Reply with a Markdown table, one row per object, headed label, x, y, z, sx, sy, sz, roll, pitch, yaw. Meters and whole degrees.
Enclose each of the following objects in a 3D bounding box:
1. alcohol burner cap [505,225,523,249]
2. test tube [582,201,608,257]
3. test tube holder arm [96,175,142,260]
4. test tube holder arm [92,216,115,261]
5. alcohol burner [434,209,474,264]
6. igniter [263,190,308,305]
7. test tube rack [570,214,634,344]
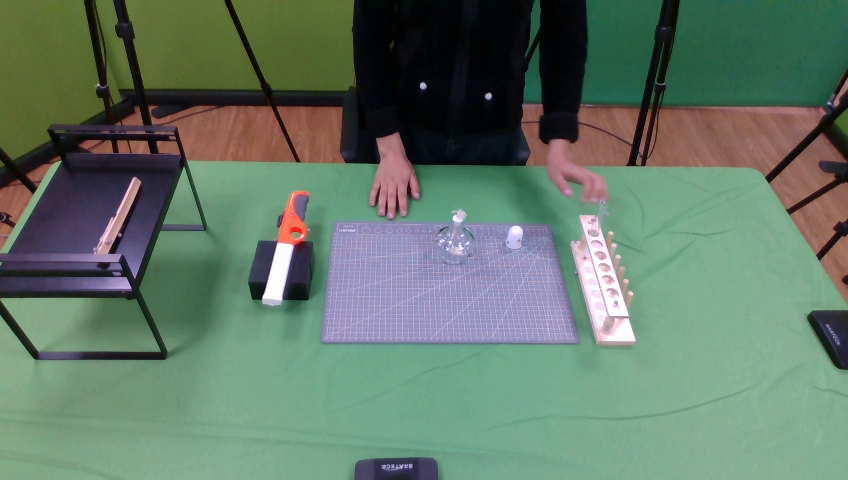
| label | x | y | z | sx | sy | sz | roll | pitch | yaw |
| --- | --- | --- | --- | --- | --- | --- | --- | --- | --- |
| alcohol burner cap | 0.180 | -0.009 | 1.203 | 0.034 | 0.048 | 0.033 | 2 | 47 | -2 |
| test tube | 0.316 | -0.017 | 1.127 | 0.017 | 0.151 | 0.017 | 1 | 51 | -1 |
| test tube holder arm | -0.473 | -0.039 | 0.946 | 0.013 | 0.015 | 0.177 | -18 | 44 | 19 |
| test tube holder arm | -0.479 | -0.004 | 0.917 | 0.010 | 0.015 | 0.087 | -18 | 44 | 19 |
| alcohol burner | 0.058 | -0.011 | 1.147 | 0.078 | 0.119 | 0.077 | 3 | 45 | -3 |
| igniter | -0.251 | 0.003 | 1.108 | 0.057 | 0.025 | 0.275 | 9 | 46 | -8 |
| test tube rack | 0.333 | 0.067 | 1.116 | 0.067 | 0.085 | 0.241 | 1 | 46 | -4 |
